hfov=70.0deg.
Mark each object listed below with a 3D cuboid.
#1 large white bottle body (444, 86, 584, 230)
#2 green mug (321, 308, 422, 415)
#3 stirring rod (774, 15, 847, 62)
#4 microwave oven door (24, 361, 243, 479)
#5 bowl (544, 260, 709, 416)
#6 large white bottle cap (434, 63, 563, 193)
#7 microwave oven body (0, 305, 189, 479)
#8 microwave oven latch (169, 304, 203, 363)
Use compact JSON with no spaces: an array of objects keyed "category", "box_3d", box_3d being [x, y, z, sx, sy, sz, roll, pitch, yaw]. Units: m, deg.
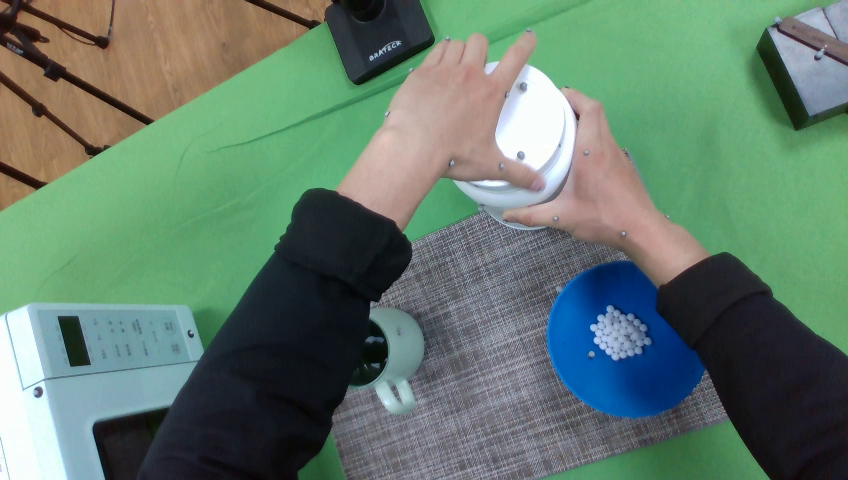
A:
[{"category":"large white bottle body","box_3d":[0.092,-0.087,0.615,0.130,0.186,0.130,-3,81,18]},{"category":"green mug","box_3d":[-0.050,0.137,0.680,0.092,0.105,0.124,-32,76,12]},{"category":"stirring rod","box_3d":[0.409,-0.164,0.561,0.175,0.006,0.014,36,130,17]},{"category":"microwave oven door","box_3d":[-0.269,0.311,0.647,0.039,0.245,0.354,-26,77,14]},{"category":"bowl","box_3d":[0.203,0.097,0.617,0.151,0.077,0.151,-2,84,18]},{"category":"large white bottle cap","box_3d":[0.064,-0.099,0.535,0.114,0.018,0.114,-3,82,18]},{"category":"microwave oven body","box_3d":[-0.412,0.334,0.695,0.326,0.261,0.439,-25,78,13]},{"category":"microwave oven latch","box_3d":[-0.316,0.123,0.787,0.030,0.029,0.079,-24,79,13]}]
